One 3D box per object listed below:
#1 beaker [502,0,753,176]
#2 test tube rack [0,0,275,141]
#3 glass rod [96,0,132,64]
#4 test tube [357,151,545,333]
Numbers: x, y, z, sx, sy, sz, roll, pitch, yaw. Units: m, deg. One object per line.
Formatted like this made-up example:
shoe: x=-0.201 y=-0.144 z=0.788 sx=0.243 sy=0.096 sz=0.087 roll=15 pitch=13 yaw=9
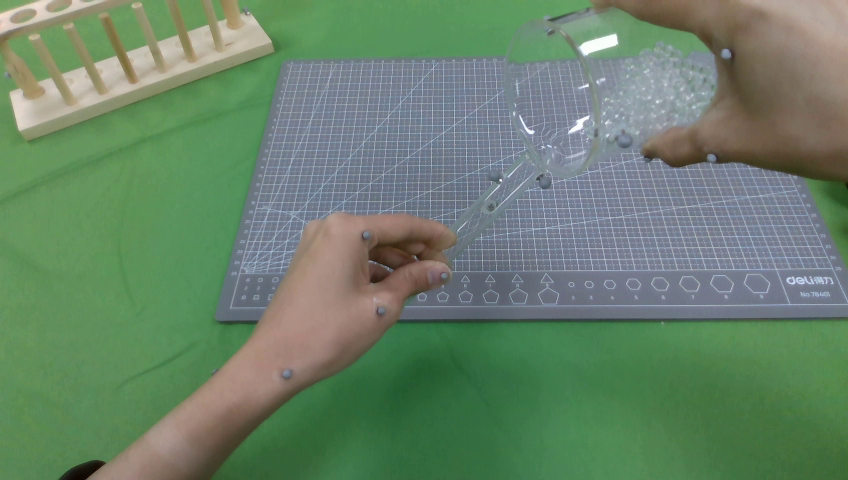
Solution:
beaker: x=0.100 y=-0.080 z=0.300 sx=0.100 sy=0.084 sz=0.073 roll=-22 pitch=58 yaw=-16
test tube rack: x=-0.275 y=-0.187 z=0.569 sx=0.242 sy=0.086 sz=0.066 roll=-26 pitch=56 yaw=-16
glass rod: x=-0.288 y=-0.228 z=0.516 sx=0.008 sy=0.201 sz=0.008 roll=1 pitch=55 yaw=-1
test tube: x=0.011 y=0.006 z=0.347 sx=0.150 sy=0.017 sz=0.017 roll=-45 pitch=50 yaw=23
